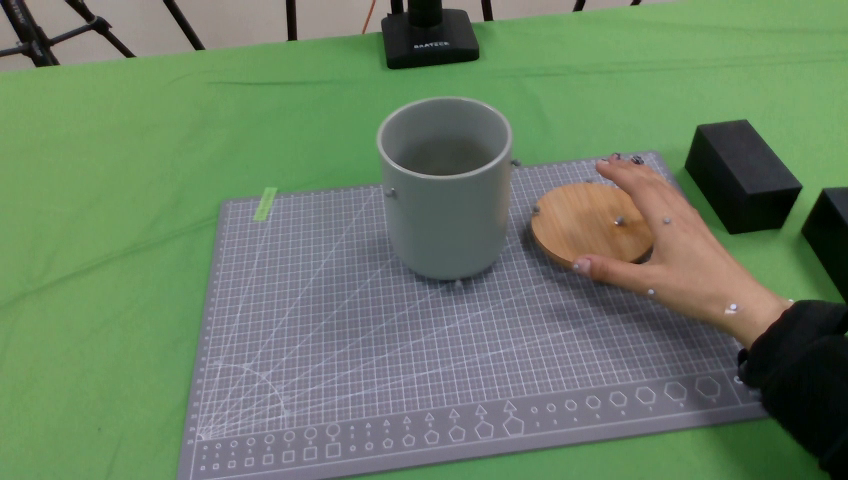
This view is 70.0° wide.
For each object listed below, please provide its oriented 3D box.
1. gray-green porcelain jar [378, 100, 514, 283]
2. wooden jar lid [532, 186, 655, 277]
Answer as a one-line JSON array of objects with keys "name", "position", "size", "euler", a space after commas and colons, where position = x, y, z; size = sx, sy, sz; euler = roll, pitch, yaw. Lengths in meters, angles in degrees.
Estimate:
[{"name": "gray-green porcelain jar", "position": [0.020, -0.034, 0.507], "size": [0.106, 0.128, 0.105], "euler": [-2, 46, 2]}, {"name": "wooden jar lid", "position": [0.151, -0.007, 0.547], "size": [0.108, 0.021, 0.107], "euler": [-2, 45, 2]}]
